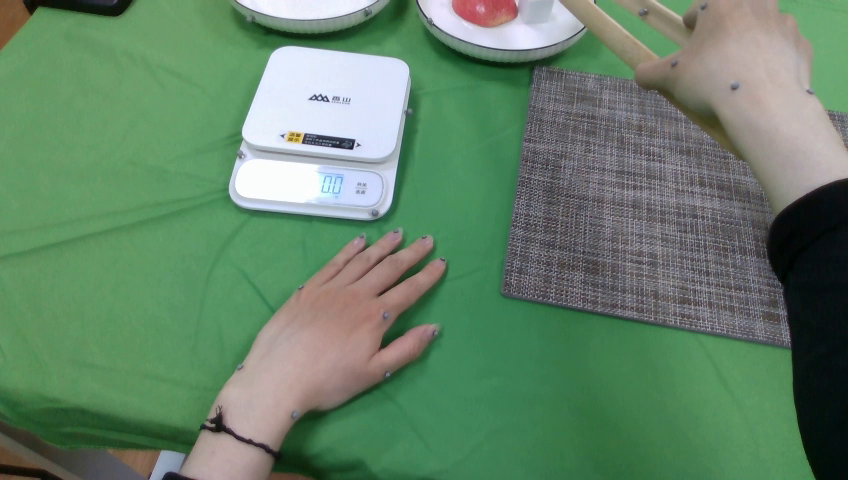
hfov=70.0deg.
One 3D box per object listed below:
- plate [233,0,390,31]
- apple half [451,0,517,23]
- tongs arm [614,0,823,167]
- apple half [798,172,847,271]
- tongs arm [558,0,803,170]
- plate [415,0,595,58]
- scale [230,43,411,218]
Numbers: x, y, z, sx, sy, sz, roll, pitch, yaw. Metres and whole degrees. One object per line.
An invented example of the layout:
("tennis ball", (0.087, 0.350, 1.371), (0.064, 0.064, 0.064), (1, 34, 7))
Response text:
("plate", (-0.130, -0.312, 0.721), (0.208, 0.039, 0.205), (1, 56, -1))
("apple half", (0.074, -0.290, 0.708), (0.081, 0.033, 0.080), (0, 53, 0))
("tongs arm", (0.197, -0.187, 0.530), (0.051, 0.027, 0.380), (-20, 48, -12))
("apple half", (0.351, -0.009, 0.509), (0.053, 0.075, 0.080), (-24, 63, -13))
("tongs arm", (0.174, -0.180, 0.527), (0.028, 0.028, 0.383), (-15, 47, -12))
("plate", (0.092, -0.278, 0.707), (0.209, 0.038, 0.207), (1, 55, -2))
("scale", (-0.095, -0.112, 0.590), (0.148, 0.032, 0.199), (6, 56, 2))
